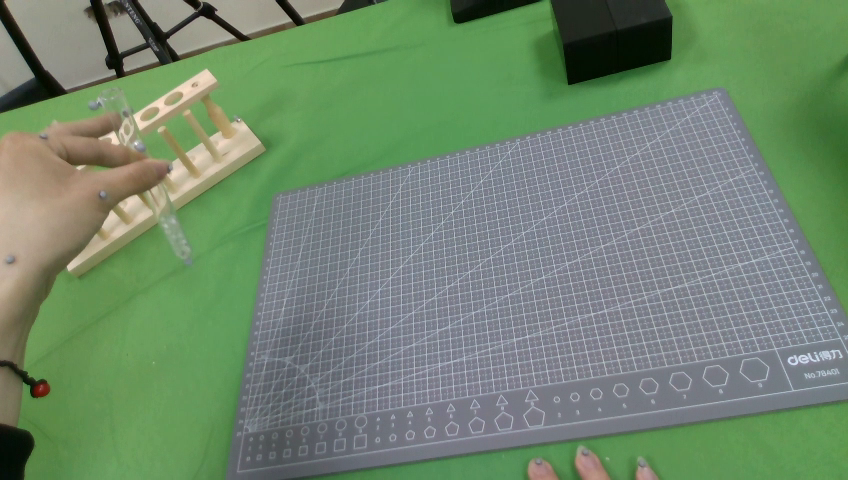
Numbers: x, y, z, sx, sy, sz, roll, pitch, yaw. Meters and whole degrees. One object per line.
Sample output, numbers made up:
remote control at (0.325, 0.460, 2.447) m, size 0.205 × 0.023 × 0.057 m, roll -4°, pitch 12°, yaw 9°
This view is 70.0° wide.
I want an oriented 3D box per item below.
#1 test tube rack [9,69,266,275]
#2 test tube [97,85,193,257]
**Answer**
test tube rack at (-0.304, -0.075, 0.656) m, size 0.242 × 0.086 × 0.066 m, roll -36°, pitch 51°, yaw -10°
test tube at (-0.198, -0.043, 0.441) m, size 0.017 × 0.151 × 0.017 m, roll -2°, pitch 44°, yaw 2°
